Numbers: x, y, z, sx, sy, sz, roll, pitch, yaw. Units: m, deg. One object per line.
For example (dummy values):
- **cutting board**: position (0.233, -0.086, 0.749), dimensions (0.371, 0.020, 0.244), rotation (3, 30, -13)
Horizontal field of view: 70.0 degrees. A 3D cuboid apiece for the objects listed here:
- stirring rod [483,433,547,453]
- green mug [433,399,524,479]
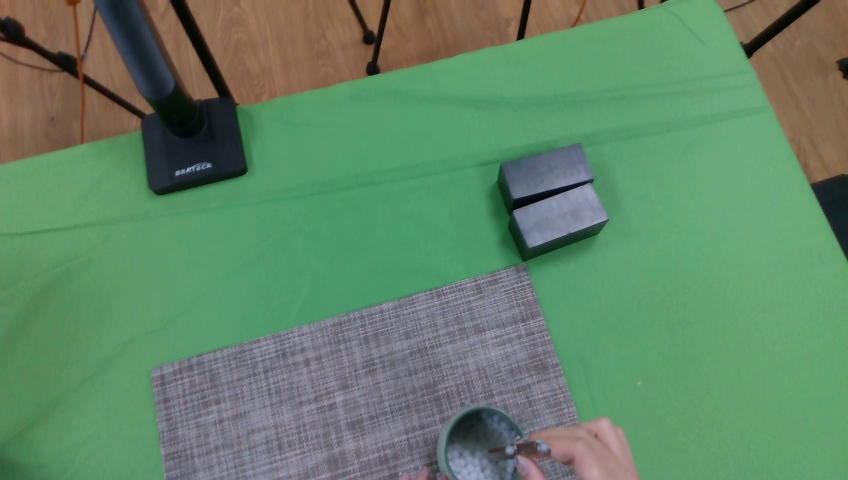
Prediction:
- **stirring rod**: position (0.066, 0.158, 0.468), dimensions (0.014, 0.177, 0.006), rotation (24, 70, 4)
- **green mug**: position (0.064, 0.219, 0.607), dimensions (0.092, 0.105, 0.124), rotation (-32, 74, -10)
